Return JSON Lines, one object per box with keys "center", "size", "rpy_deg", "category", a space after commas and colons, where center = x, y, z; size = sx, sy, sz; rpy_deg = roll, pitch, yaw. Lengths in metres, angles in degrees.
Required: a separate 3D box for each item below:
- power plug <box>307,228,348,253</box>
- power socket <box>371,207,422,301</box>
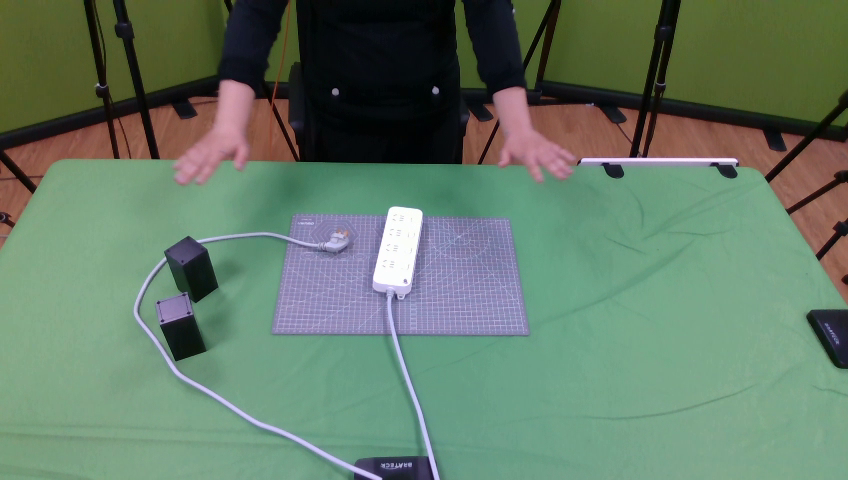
{"center": [-0.183, -0.004, 1.168], "size": [0.072, 0.035, 0.052], "rpy_deg": [17, 57, -2], "category": "power plug"}
{"center": [-0.051, 0.018, 1.165], "size": [0.072, 0.033, 0.225], "rpy_deg": [6, 46, 3], "category": "power socket"}
